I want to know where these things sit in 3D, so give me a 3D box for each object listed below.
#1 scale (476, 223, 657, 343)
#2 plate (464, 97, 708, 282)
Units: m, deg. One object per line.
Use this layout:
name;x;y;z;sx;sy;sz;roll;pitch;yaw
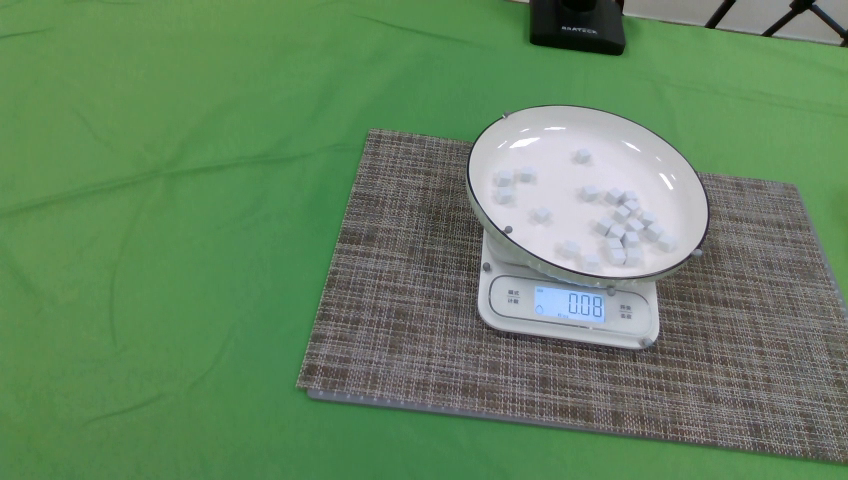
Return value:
scale;0.126;-0.008;0.538;0.149;0.032;0.199;8;51;1
plate;0.136;-0.046;0.528;0.209;0.038;0.207;3;51;-4
